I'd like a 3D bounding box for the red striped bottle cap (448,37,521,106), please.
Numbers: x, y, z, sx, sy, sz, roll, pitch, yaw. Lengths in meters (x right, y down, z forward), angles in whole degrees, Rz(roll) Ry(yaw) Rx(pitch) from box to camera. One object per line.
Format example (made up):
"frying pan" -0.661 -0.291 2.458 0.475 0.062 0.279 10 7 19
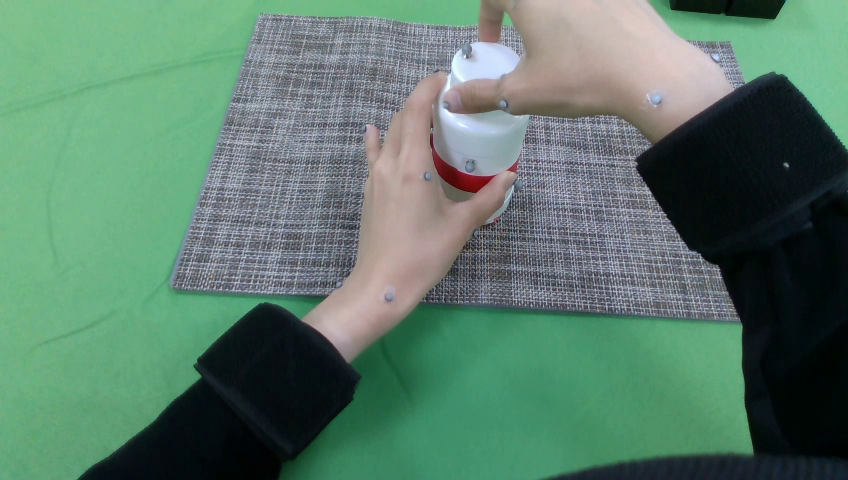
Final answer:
"red striped bottle cap" 0.036 -0.103 0.368 0.044 0.018 0.044 0 57 0

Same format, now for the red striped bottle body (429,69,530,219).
"red striped bottle body" 0.036 -0.073 0.413 0.063 0.120 0.062 1 56 -1
